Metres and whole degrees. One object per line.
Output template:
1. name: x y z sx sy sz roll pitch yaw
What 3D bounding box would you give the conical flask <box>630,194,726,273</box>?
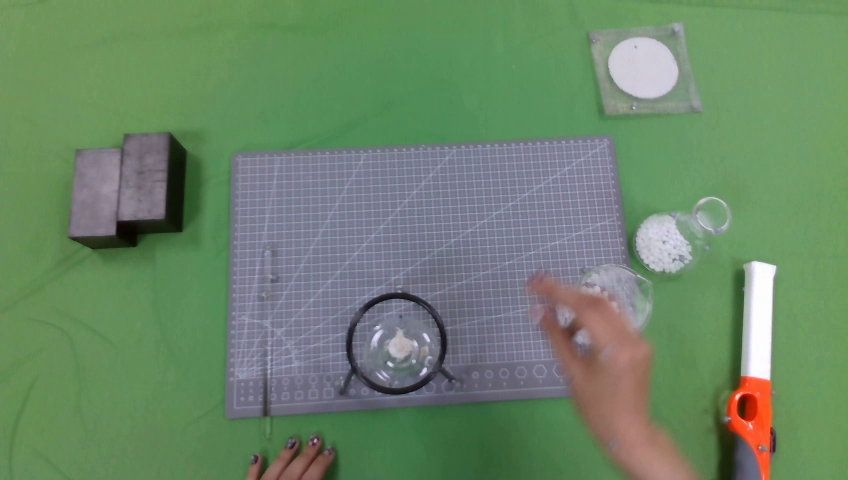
1. conical flask: 0.271 -0.013 0.638 0.075 0.122 0.075 0 76 0

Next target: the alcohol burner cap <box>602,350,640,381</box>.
1. alcohol burner cap: 0.210 0.131 0.640 0.034 0.048 0.033 0 76 -1

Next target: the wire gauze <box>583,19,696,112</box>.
1. wire gauze: 0.266 -0.214 0.745 0.125 0.011 0.121 -4 77 -4

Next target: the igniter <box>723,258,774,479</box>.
1. igniter: 0.348 0.155 0.648 0.057 0.025 0.275 12 76 -9

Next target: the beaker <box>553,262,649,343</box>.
1. beaker: 0.179 0.067 0.625 0.084 0.100 0.073 -26 78 -8

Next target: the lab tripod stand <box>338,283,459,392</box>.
1. lab tripod stand: -0.029 0.106 0.593 0.148 0.132 0.147 0 78 -1

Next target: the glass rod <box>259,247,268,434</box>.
1. glass rod: -0.173 0.106 0.653 0.008 0.008 0.199 -2 79 -2

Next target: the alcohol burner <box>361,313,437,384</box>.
1. alcohol burner: -0.026 0.109 0.603 0.078 0.119 0.077 0 75 1
